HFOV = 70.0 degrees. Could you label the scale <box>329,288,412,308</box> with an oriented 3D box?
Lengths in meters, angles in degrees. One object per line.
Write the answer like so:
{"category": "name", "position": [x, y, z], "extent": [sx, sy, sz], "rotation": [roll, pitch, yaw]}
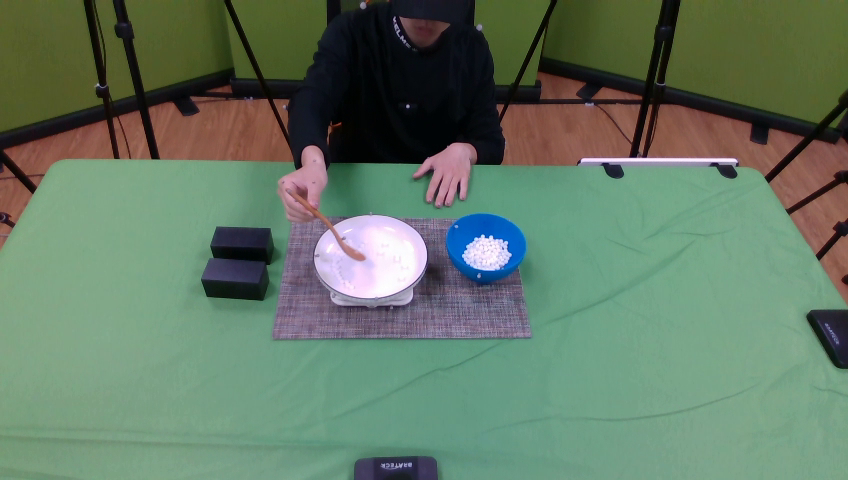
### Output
{"category": "scale", "position": [-0.098, 0.042, 1.139], "extent": [0.149, 0.032, 0.199], "rotation": [1, 46, -4]}

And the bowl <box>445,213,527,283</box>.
{"category": "bowl", "position": [0.111, 0.028, 1.137], "extent": [0.151, 0.077, 0.150], "rotation": [2, 46, -2]}

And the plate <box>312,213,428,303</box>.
{"category": "plate", "position": [-0.097, 0.036, 1.100], "extent": [0.209, 0.038, 0.208], "rotation": [2, 46, -2]}

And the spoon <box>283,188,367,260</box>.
{"category": "spoon", "position": [-0.166, -0.026, 1.030], "extent": [0.021, 0.195, 0.041], "rotation": [-38, 31, 5]}
